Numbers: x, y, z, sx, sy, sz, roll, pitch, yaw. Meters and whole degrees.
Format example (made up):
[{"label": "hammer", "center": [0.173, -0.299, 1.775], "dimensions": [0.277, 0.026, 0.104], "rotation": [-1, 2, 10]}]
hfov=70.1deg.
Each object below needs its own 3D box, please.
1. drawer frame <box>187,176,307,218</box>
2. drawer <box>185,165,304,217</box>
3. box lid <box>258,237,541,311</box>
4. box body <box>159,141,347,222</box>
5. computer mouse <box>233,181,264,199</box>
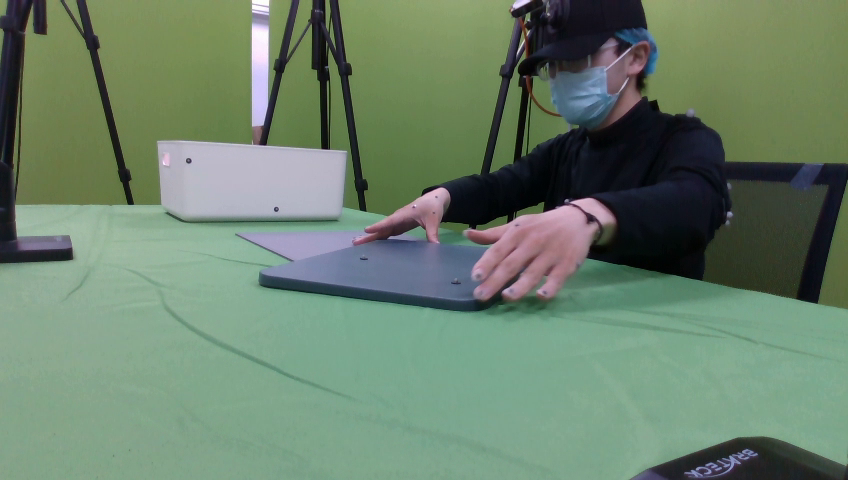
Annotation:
[{"label": "drawer frame", "center": [-0.397, -0.099, 1.347], "dimensions": [0.203, 0.082, 0.212], "rotation": [-3, 8, -37]}, {"label": "drawer", "center": [-0.403, -0.107, 1.354], "dimensions": [0.195, 0.073, 0.211], "rotation": [-9, -3, -38]}, {"label": "box lid", "center": [-0.004, 0.033, 0.773], "dimensions": [0.262, 0.015, 0.372], "rotation": [5, 8, 19]}, {"label": "box body", "center": [-0.384, -0.133, 1.359], "dimensions": [0.366, 0.160, 0.253], "rotation": [-2, 9, -33]}, {"label": "computer mouse", "center": [-0.357, -0.103, 1.270], "dimensions": [0.062, 0.041, 0.117], "rotation": [1, 0, 19]}]
